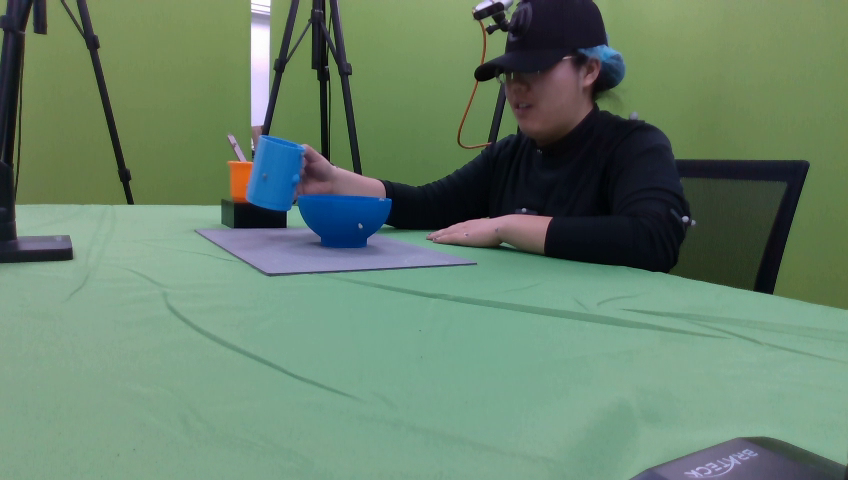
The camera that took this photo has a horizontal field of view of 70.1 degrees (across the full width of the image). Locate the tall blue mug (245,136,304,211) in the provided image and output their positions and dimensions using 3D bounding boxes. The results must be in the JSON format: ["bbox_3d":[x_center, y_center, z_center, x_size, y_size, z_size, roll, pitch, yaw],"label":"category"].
[{"bbox_3d":[-0.251,-0.115,1.022,0.078,0.108,0.107,13,13,-14],"label":"tall blue mug"}]

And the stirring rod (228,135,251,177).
[{"bbox_3d":[-0.352,-0.148,1.198,0.014,0.006,0.175,-6,54,-44],"label":"stirring rod"}]

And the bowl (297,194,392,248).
[{"bbox_3d":[-0.127,-0.030,0.964,0.151,0.077,0.151,3,7,0],"label":"bowl"}]
